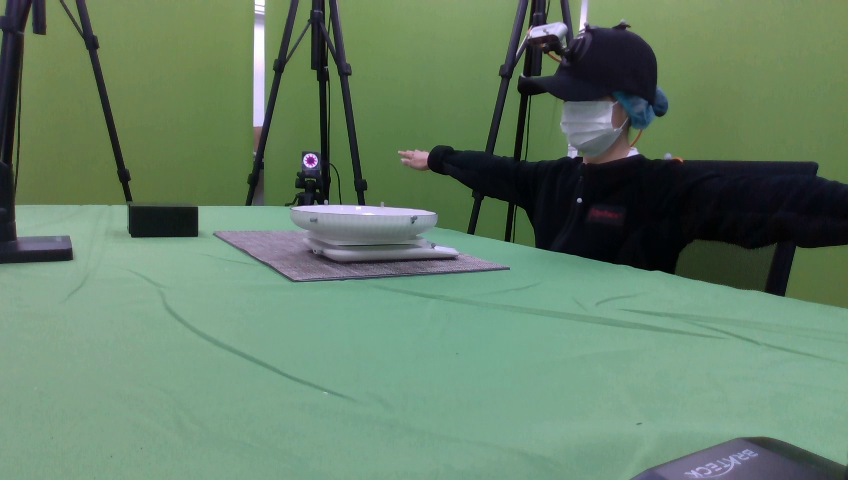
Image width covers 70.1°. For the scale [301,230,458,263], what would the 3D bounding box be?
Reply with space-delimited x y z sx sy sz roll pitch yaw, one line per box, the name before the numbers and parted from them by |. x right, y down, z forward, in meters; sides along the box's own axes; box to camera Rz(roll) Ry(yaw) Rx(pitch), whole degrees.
scale | -0.065 0.007 0.878 0.202 0.031 0.148 0 8 -29

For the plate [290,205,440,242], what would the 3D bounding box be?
plate | -0.082 -0.024 0.852 0.208 0.039 0.207 3 6 0
